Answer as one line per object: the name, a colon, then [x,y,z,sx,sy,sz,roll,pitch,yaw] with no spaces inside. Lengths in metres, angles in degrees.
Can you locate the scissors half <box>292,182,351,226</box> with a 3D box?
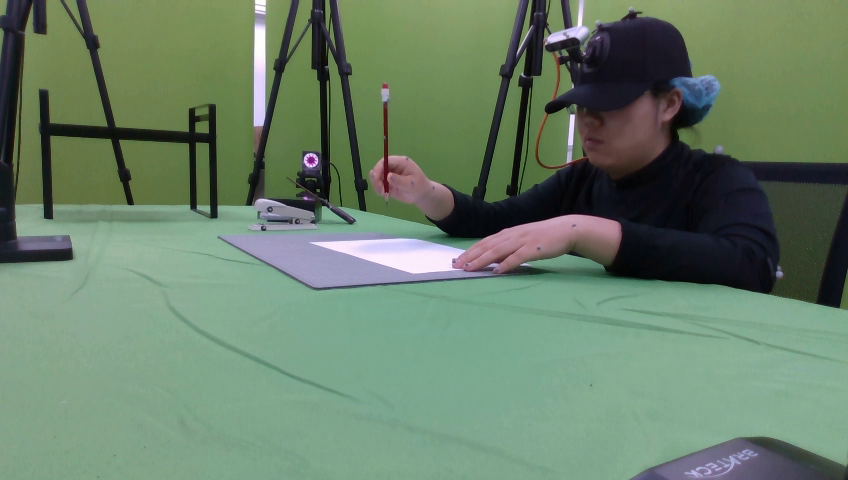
scissors half: [-0.232,-0.085,1.317,0.175,0.013,0.040,38,20,4]

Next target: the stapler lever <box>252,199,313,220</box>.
stapler lever: [-0.273,-0.058,1.170,0.119,0.040,0.026,0,10,-37]

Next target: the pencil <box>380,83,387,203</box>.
pencil: [-0.065,-0.155,0.978,0.012,0.194,0.012,0,7,0]

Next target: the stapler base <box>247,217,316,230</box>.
stapler base: [-0.276,-0.033,1.172,0.131,0.024,0.041,0,10,-37]

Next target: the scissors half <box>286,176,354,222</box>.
scissors half: [-0.229,-0.091,1.337,0.175,0.013,0.040,33,15,-13]
